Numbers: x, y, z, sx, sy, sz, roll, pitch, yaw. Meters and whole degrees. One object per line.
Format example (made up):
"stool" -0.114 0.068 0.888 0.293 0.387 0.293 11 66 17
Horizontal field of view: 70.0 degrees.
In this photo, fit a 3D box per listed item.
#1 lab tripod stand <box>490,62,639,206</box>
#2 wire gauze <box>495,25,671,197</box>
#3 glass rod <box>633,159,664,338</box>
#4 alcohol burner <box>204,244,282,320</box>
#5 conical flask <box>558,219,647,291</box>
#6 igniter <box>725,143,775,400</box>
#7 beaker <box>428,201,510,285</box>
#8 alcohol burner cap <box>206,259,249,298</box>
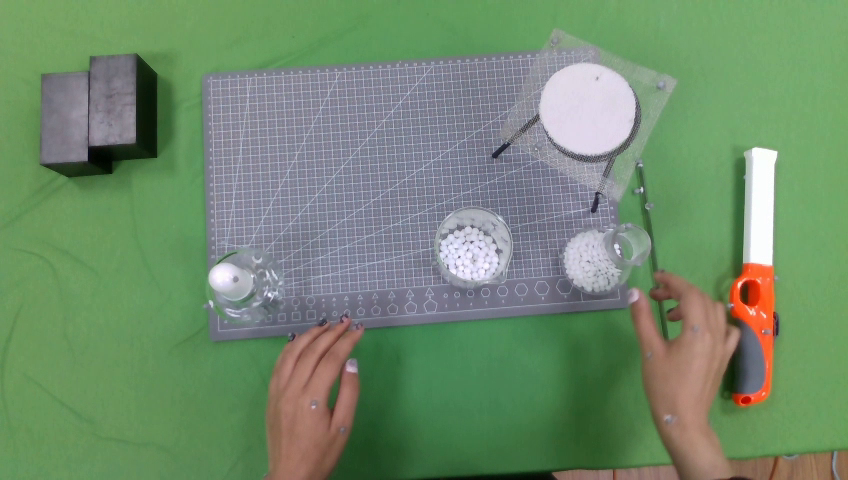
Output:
"lab tripod stand" 0.146 -0.108 0.610 0.148 0.132 0.148 0 83 1
"wire gauze" 0.143 -0.119 0.545 0.125 0.011 0.121 28 85 4
"glass rod" 0.245 0.008 0.662 0.008 0.008 0.199 -5 82 -1
"alcohol burner" -0.184 0.040 0.598 0.078 0.119 0.077 0 83 1
"conical flask" 0.182 0.009 0.600 0.075 0.122 0.075 0 81 0
"igniter" 0.351 0.031 0.649 0.057 0.025 0.275 8 82 -10
"beaker" 0.045 0.010 0.611 0.074 0.100 0.084 -40 84 -5
"alcohol burner cap" -0.184 0.033 0.562 0.034 0.048 0.033 1 75 -2
